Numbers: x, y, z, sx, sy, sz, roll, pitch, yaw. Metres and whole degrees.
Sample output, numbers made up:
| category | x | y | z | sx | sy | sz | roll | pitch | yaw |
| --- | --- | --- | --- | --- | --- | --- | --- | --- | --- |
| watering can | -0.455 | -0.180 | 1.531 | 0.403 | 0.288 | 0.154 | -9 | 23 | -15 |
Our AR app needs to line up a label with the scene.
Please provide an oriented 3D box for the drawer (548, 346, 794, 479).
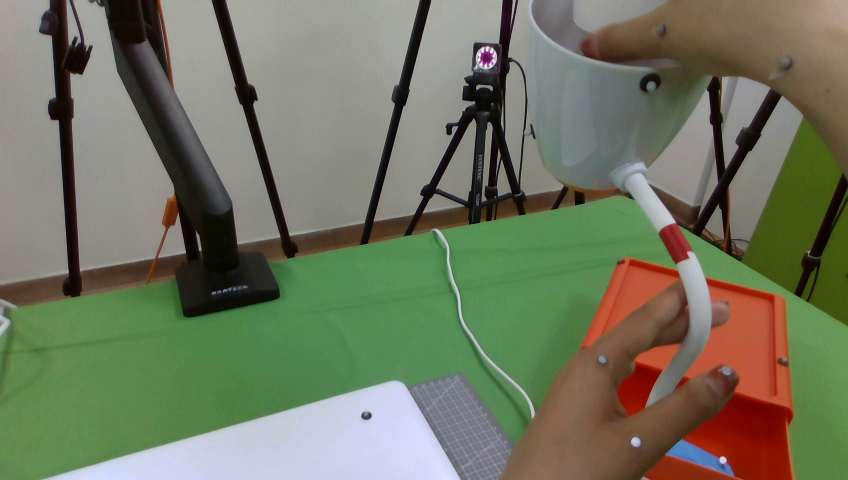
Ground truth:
| category | x | y | z | sx | sy | sz | roll | pitch | yaw |
| --- | --- | --- | --- | --- | --- | --- | --- | --- | --- |
| drawer | 0.245 | 0.170 | 0.597 | 0.193 | 0.074 | 0.211 | 13 | 30 | 20 |

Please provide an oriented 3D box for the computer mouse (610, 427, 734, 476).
| category | x | y | z | sx | sy | sz | roll | pitch | yaw |
| --- | --- | --- | --- | --- | --- | --- | --- | --- | --- |
| computer mouse | 0.225 | 0.209 | 0.552 | 0.117 | 0.041 | 0.062 | 14 | 30 | 13 |

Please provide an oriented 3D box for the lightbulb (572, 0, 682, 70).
| category | x | y | z | sx | sy | sz | roll | pitch | yaw |
| --- | --- | --- | --- | --- | --- | --- | --- | --- | --- |
| lightbulb | 0.115 | -0.115 | 0.360 | 0.059 | 0.108 | 0.059 | -2 | 42 | 2 |

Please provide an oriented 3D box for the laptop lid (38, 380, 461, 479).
| category | x | y | z | sx | sy | sz | roll | pitch | yaw |
| --- | --- | --- | --- | --- | --- | --- | --- | --- | --- |
| laptop lid | -0.136 | 0.232 | 0.484 | 0.358 | 0.013 | 0.239 | -10 | 34 | -22 |

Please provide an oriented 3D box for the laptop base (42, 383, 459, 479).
| category | x | y | z | sx | sy | sz | roll | pitch | yaw |
| --- | --- | --- | --- | --- | --- | --- | --- | --- | --- |
| laptop base | -0.137 | 0.242 | 0.492 | 0.355 | 0.023 | 0.233 | -11 | 35 | -23 |

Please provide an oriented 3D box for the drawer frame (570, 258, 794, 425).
| category | x | y | z | sx | sy | sz | roll | pitch | yaw |
| --- | --- | --- | --- | --- | --- | --- | --- | --- | --- |
| drawer frame | 0.292 | 0.120 | 0.686 | 0.200 | 0.083 | 0.213 | 14 | 30 | 21 |

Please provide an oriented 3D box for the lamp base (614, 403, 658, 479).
| category | x | y | z | sx | sy | sz | roll | pitch | yaw |
| --- | --- | --- | --- | --- | --- | --- | --- | --- | --- |
| lamp base | 0.142 | 0.212 | 0.398 | 0.161 | 0.181 | 0.177 | 0 | 27 | -9 |

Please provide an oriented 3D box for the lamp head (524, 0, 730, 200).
| category | x | y | z | sx | sy | sz | roll | pitch | yaw |
| --- | --- | --- | --- | --- | --- | --- | --- | --- | --- |
| lamp head | 0.115 | -0.085 | 0.377 | 0.112 | 0.124 | 0.111 | -2 | 44 | 2 |
